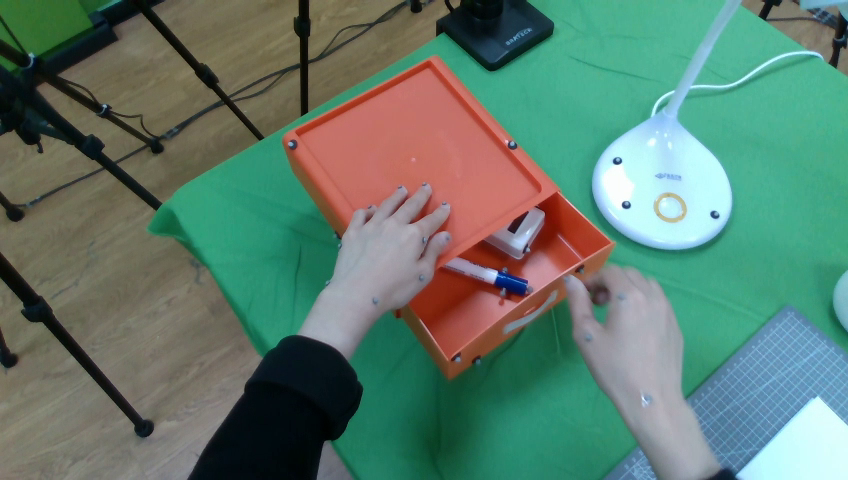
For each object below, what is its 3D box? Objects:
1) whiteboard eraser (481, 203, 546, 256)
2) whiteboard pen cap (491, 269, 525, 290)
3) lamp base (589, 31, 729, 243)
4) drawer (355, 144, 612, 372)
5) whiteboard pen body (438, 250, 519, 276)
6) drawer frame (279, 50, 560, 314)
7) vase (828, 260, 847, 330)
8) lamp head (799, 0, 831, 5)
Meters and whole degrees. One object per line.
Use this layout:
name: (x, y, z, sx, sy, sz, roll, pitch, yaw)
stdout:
whiteboard eraser: (0.072, -0.022, 0.648, 0.111, 0.042, 0.055, 19, 69, 41)
whiteboard pen cap: (0.083, 0.037, 0.603, 0.033, 0.018, 0.018, 18, 63, 8)
lamp base: (0.273, -0.115, 0.650, 0.161, 0.182, 0.177, -4, 59, -2)
drawer: (0.040, -0.009, 0.603, 0.194, 0.074, 0.210, -33, 66, -15)
whiteboard pen body: (0.027, 0.017, 0.607, 0.140, 0.017, 0.017, 16, 63, 9)
drawer frame: (-0.007, -0.065, 0.632, 0.201, 0.083, 0.212, -33, 70, -15)
vase: (0.473, 0.025, 0.565, 0.098, 0.201, 0.097, 0, 61, 1)
lamp head: (0.295, -0.215, 0.375, 0.112, 0.112, 0.123, -11, 101, -5)
